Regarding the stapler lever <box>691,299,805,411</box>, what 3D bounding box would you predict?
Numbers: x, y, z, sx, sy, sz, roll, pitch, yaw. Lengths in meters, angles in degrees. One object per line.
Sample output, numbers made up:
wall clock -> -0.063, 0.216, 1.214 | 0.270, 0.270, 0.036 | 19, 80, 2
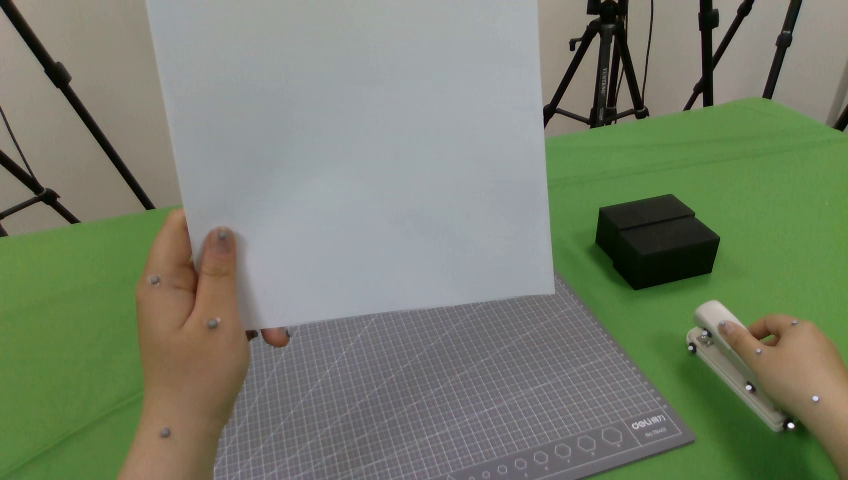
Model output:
stapler lever -> 0.291, 0.099, 0.552 | 0.027, 0.040, 0.116 | -30, 39, -1

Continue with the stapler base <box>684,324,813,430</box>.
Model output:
stapler base -> 0.298, 0.116, 0.568 | 0.041, 0.025, 0.129 | -30, 40, -1
